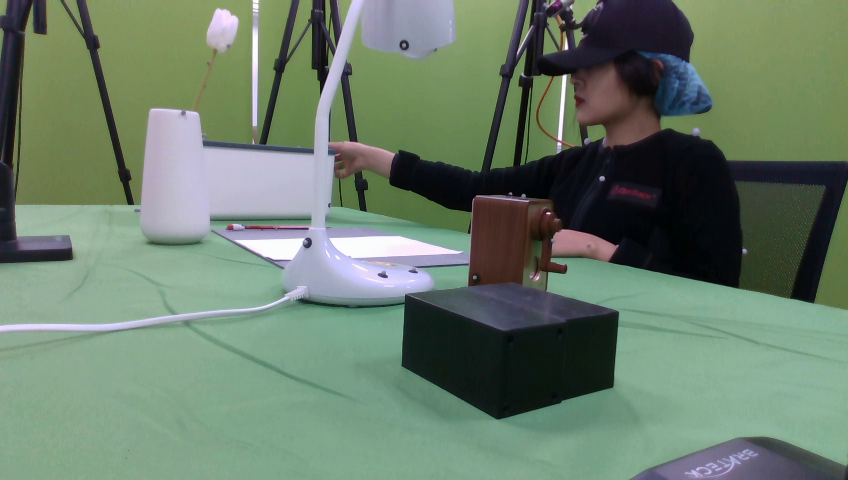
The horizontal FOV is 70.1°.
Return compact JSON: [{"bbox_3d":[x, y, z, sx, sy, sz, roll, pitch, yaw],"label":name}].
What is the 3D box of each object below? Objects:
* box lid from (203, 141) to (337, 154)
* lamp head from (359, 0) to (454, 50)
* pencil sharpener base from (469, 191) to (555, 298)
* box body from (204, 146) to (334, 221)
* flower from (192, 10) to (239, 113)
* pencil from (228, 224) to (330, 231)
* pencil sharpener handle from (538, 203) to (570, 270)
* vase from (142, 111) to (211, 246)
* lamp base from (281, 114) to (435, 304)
[{"bbox_3d":[-0.407,-0.209,1.370,0.373,0.015,0.262,-1,8,-31],"label":"box lid"},{"bbox_3d":[-0.024,-0.283,0.674,0.112,0.123,0.112,-3,38,3],"label":"lamp head"},{"bbox_3d":[0.097,0.003,0.652,0.076,0.107,0.061,8,9,38],"label":"pencil sharpener base"},{"bbox_3d":[-0.413,-0.134,1.379,0.366,0.160,0.253,-2,9,-31],"label":"box body"},{"bbox_3d":[-0.354,-0.174,0.915,0.038,0.361,0.044,18,-4,12],"label":"flower"},{"bbox_3d":[-0.265,-0.023,1.124,0.195,0.012,0.012,-1,8,-32],"label":"pencil"},{"bbox_3d":[0.137,-0.003,0.619,0.030,0.067,0.036,8,4,38],"label":"pencil sharpener handle"},{"bbox_3d":[-0.378,-0.093,0.920,0.098,0.200,0.098,2,9,0],"label":"vase"},{"bbox_3d":[-0.071,-0.035,0.614,0.160,0.180,0.180,6,10,27],"label":"lamp base"}]
